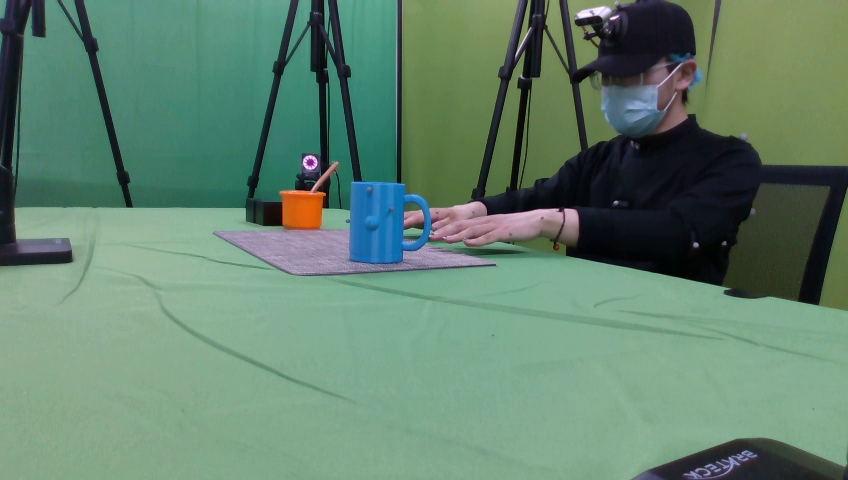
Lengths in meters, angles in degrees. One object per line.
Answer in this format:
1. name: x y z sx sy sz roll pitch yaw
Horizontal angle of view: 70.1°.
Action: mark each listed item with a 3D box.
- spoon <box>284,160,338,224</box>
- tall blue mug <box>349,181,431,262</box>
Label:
1. spoon: -0.228 -0.101 1.251 0.041 0.194 0.022 6 -37 35
2. tall blue mug: -0.051 -0.028 0.849 0.108 0.108 0.077 -1 7 -22
